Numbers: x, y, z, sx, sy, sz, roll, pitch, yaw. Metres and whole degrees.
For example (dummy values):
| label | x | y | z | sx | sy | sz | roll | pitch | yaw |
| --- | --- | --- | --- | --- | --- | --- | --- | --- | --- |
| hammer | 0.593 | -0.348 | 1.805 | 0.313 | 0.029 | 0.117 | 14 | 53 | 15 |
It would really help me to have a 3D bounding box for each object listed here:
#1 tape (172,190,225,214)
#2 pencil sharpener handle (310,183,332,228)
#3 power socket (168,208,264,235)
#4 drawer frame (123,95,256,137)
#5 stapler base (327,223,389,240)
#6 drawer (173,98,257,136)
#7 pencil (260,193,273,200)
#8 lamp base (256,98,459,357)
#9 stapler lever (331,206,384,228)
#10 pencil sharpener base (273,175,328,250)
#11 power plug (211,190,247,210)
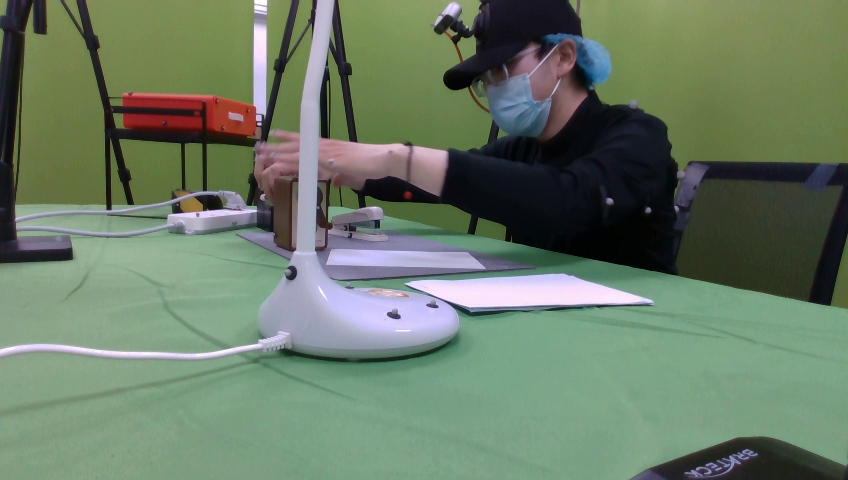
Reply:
| label | x | y | z | sx | sy | sz | roll | pitch | yaw |
| --- | --- | --- | --- | --- | --- | --- | --- | --- | --- |
| tape | -0.515 | -0.087 | 1.388 | 0.117 | 0.052 | 0.117 | 3 | 7 | 0 |
| pencil sharpener handle | -0.151 | -0.049 | 0.864 | 0.036 | 0.068 | 0.030 | -30 | 23 | -26 |
| power socket | -0.381 | -0.038 | 1.129 | 0.072 | 0.032 | 0.227 | 4 | 8 | 17 |
| drawer frame | -0.524 | -0.281 | 1.376 | 0.213 | 0.082 | 0.202 | 3 | 8 | 8 |
| stapler base | -0.117 | -0.018 | 1.072 | 0.130 | 0.024 | 0.041 | 7 | 8 | 41 |
| drawer | -0.518 | -0.279 | 1.376 | 0.211 | 0.073 | 0.195 | 3 | 8 | 10 |
| pencil | -0.239 | -0.075 | 0.994 | 0.012 | 0.012 | 0.193 | -2 | 2 | -31 |
| lamp base | -0.055 | -0.013 | 0.463 | 0.160 | 0.180 | 0.180 | 6 | 11 | 27 |
| stapler lever | -0.118 | -0.043 | 1.070 | 0.117 | 0.040 | 0.027 | 7 | 8 | 41 |
| pencil sharpener base | -0.185 | -0.042 | 0.904 | 0.062 | 0.107 | 0.076 | -2 | 9 | -33 |
| power plug | -0.386 | -0.072 | 1.204 | 0.072 | 0.052 | 0.035 | 7 | 9 | 26 |
